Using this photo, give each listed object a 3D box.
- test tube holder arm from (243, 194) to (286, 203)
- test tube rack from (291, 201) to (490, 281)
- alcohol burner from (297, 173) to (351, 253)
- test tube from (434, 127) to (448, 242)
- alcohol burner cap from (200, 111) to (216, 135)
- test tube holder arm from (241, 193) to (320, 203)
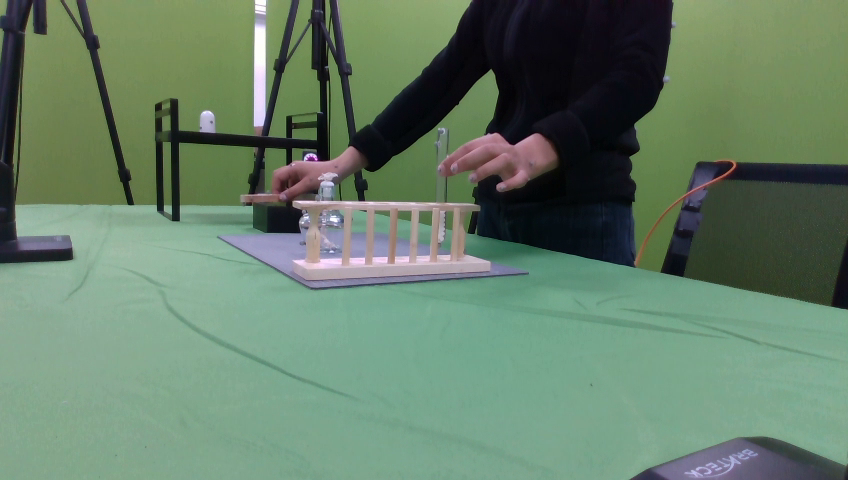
[{"bbox_3d":[-0.294,-0.077,1.117,0.010,0.015,0.088,20,18,37],"label":"test tube holder arm"},{"bbox_3d":[-0.035,-0.002,0.745,0.243,0.085,0.066,-1,8,-28],"label":"test tube rack"},{"bbox_3d":[-0.146,-0.040,0.894,0.078,0.119,0.078,5,7,0],"label":"alcohol burner"},{"bbox_3d":[0.022,-0.071,0.786,0.017,0.150,0.017,1,8,0],"label":"test tube"},{"bbox_3d":[-0.448,-0.243,1.255,0.034,0.048,0.034,2,7,0],"label":"alcohol burner cap"},{"bbox_3d":[-0.270,-0.082,1.156,0.013,0.015,0.179,20,17,35],"label":"test tube holder arm"}]
